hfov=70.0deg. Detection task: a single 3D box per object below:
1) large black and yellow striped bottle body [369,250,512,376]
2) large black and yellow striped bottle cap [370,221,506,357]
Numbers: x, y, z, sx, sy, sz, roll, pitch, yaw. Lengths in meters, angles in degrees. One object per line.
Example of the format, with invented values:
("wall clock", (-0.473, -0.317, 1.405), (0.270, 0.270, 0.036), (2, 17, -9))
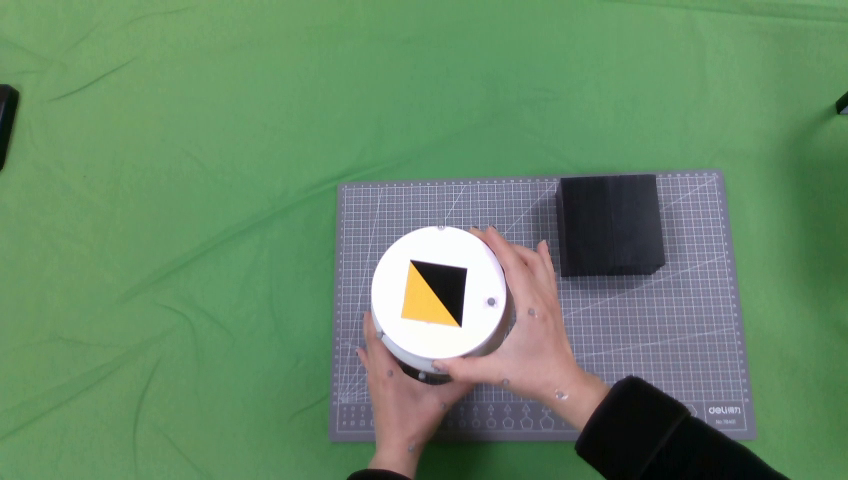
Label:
("large black and yellow striped bottle body", (0.018, 0.063, 0.593), (0.131, 0.185, 0.130), (-1, 75, 4))
("large black and yellow striped bottle cap", (0.012, 0.041, 0.511), (0.115, 0.019, 0.114), (-1, 76, 6))
